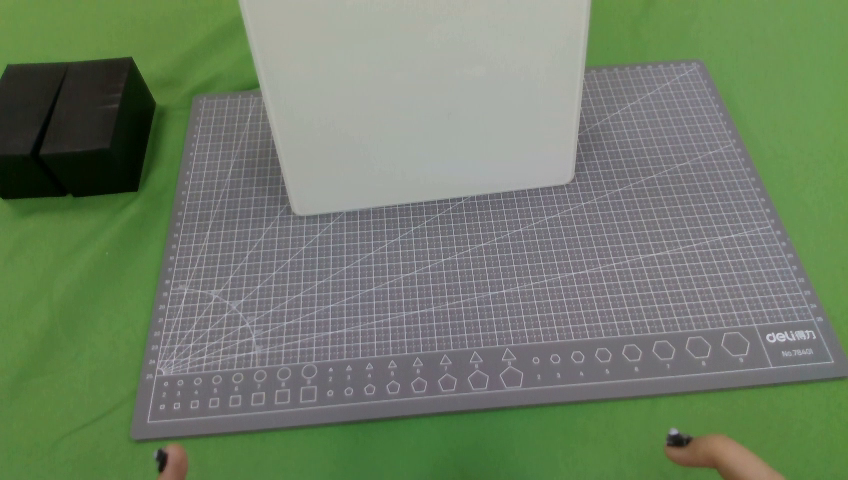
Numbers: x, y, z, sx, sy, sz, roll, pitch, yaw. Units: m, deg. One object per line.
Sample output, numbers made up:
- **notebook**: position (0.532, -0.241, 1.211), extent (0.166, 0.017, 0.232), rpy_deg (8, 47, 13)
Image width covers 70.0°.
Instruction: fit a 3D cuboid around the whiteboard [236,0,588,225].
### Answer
- **whiteboard**: position (-0.009, -0.186, 0.421), extent (0.217, 0.308, 0.142), rpy_deg (-6, 37, -2)
